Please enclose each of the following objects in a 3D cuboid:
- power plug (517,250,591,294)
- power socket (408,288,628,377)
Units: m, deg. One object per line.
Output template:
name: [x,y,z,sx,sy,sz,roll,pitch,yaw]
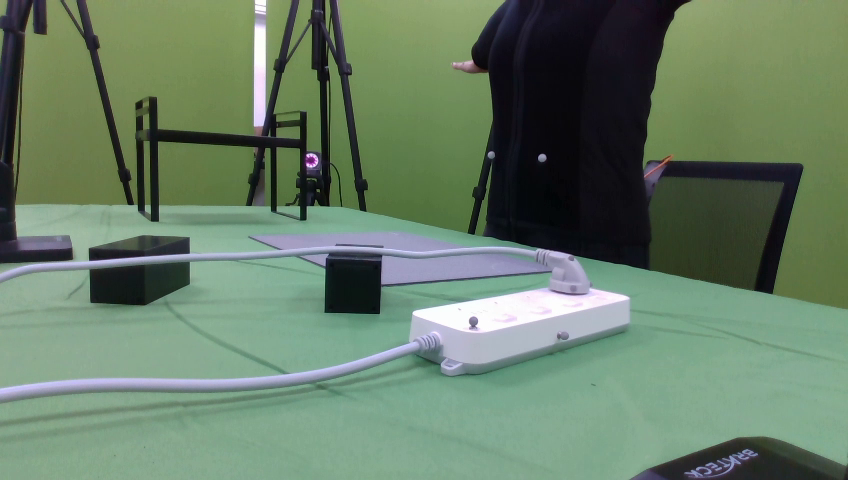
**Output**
power plug: [0.120,0.037,0.554,0.035,0.052,0.072,-1,9,-33]
power socket: [0.084,0.065,0.485,0.228,0.032,0.072,-5,10,-42]
